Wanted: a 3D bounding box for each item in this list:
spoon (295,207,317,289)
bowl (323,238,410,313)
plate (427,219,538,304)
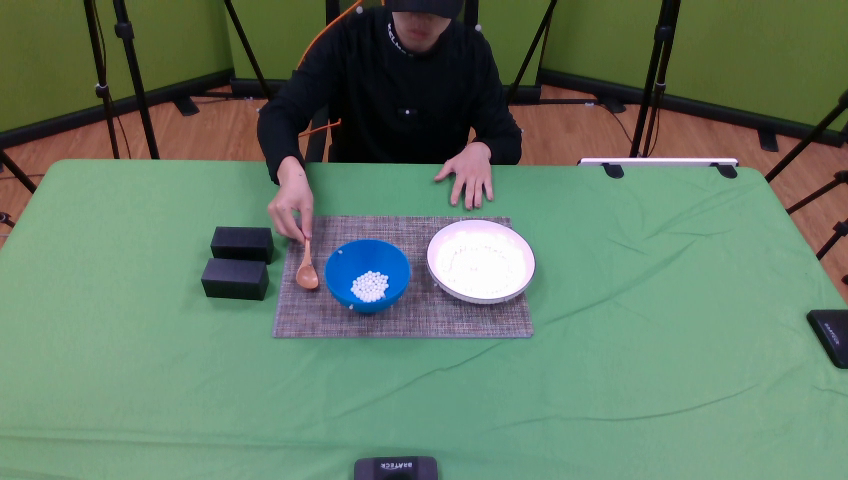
[{"bbox_3d":[-0.223,0.012,1.146,0.042,0.022,0.192,10,54,-24],"label":"spoon"},{"bbox_3d":[-0.101,0.077,1.073,0.151,0.077,0.150,2,46,-2],"label":"bowl"},{"bbox_3d":[0.109,0.044,1.149,0.208,0.039,0.206,2,46,-2],"label":"plate"}]
